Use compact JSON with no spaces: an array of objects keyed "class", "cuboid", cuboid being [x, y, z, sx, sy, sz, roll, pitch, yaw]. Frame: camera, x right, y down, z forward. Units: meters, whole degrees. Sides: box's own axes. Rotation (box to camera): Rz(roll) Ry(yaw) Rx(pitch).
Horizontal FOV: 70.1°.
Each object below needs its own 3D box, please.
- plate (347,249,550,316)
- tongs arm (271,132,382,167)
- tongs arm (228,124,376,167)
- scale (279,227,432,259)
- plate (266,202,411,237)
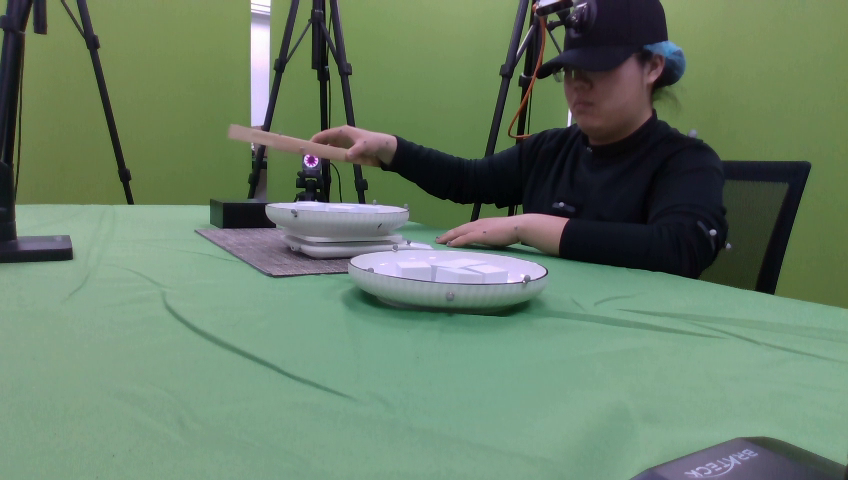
[{"class":"plate","cuboid":[0.025,0.042,0.627,0.209,0.038,0.209,2,7,0]},{"class":"tongs arm","cuboid":[-0.172,-0.170,1.174,0.028,0.028,0.389,8,4,24]},{"class":"tongs arm","cuboid":[-0.222,-0.183,1.202,0.050,0.026,0.387,12,6,30]},{"class":"scale","cuboid":[-0.100,0.001,0.899,0.202,0.031,0.148,-1,9,-31]},{"class":"plate","cuboid":[-0.123,-0.030,0.879,0.208,0.039,0.207,2,6,0]}]
